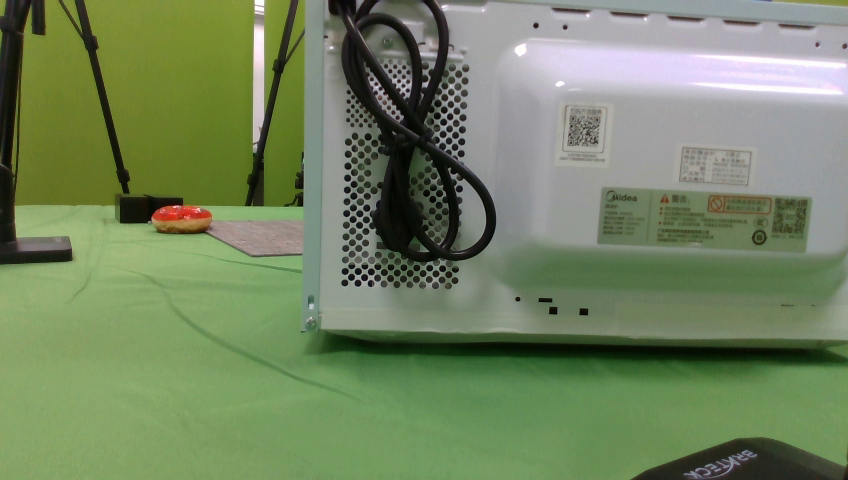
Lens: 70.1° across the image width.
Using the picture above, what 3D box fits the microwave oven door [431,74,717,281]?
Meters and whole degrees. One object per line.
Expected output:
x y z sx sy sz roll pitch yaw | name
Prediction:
0.178 -0.088 0.792 0.354 0.243 0.039 6 8 28 | microwave oven door

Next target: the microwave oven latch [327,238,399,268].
-0.069 0.015 0.694 0.079 0.029 0.030 3 7 -3 | microwave oven latch

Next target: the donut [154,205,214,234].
-0.426 -0.037 1.075 0.099 0.048 0.099 2 12 0 | donut

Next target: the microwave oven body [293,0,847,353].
0.122 -0.055 0.550 0.442 0.260 0.325 3 7 -5 | microwave oven body
